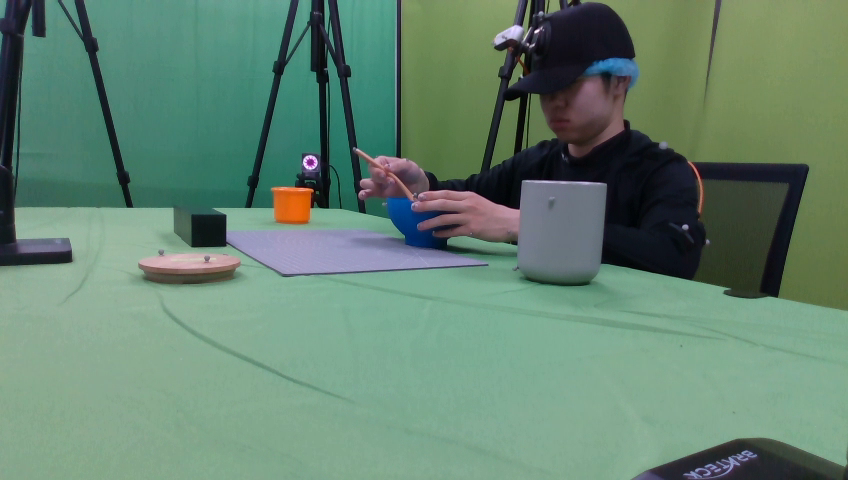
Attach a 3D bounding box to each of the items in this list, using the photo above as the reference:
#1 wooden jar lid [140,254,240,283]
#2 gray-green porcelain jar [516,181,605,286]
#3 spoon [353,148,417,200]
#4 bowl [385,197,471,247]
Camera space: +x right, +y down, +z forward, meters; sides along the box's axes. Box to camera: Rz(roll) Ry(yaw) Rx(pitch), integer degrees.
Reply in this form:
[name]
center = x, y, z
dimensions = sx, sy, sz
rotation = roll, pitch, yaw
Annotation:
[wooden jar lid]
center = -0.269, 0.032, 0.698
dimensions = 0.108, 0.020, 0.108
rotation = 2, 5, 0
[gray-green porcelain jar]
center = 0.172, -0.010, 0.768
dimensions = 0.106, 0.126, 0.106
rotation = 2, 7, 0
[spoon]
center = -0.051, -0.102, 1.055
dimensions = 0.193, 0.021, 0.042
rotation = 43, 16, 11
[bowl]
center = 0.005, -0.031, 1.045
dimensions = 0.151, 0.077, 0.151
rotation = 4, 5, 0
